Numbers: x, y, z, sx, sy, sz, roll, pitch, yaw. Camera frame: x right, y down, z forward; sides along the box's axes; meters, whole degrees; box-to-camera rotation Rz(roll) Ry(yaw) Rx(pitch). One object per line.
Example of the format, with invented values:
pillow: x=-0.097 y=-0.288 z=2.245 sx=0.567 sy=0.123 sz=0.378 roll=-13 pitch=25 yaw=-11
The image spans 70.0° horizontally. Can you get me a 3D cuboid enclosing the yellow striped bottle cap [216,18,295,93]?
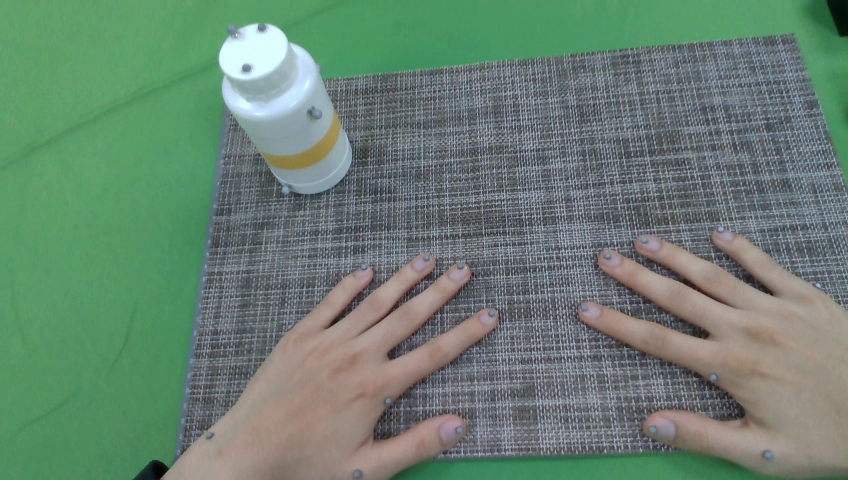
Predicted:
yellow striped bottle cap: x=-0.103 y=-0.113 z=0.369 sx=0.044 sy=0.019 sz=0.044 roll=-4 pitch=65 yaw=8

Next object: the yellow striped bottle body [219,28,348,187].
yellow striped bottle body: x=-0.097 y=-0.091 z=0.416 sx=0.063 sy=0.121 sz=0.062 roll=-3 pitch=66 yaw=7
